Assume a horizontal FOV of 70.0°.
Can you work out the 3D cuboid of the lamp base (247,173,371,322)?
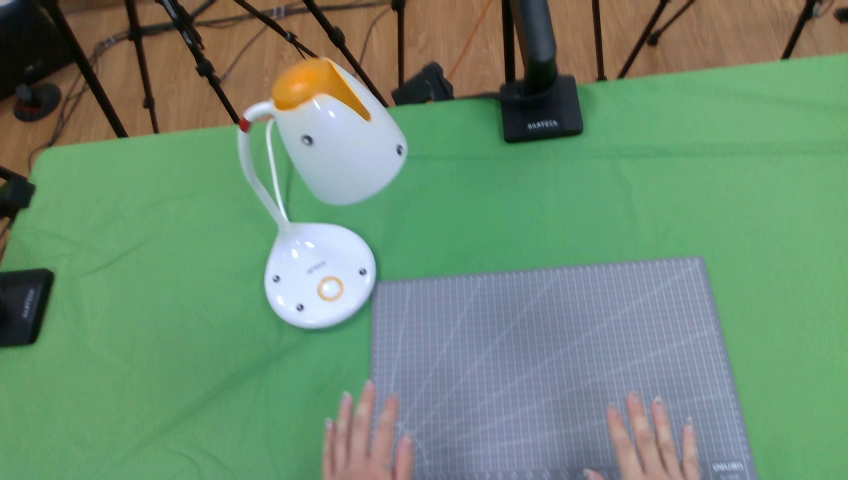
[{"bbox_3d":[-0.173,-0.001,0.799,0.160,0.182,0.177,-41,63,-12],"label":"lamp base"}]

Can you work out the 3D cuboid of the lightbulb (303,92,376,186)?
[{"bbox_3d":[-0.086,-0.099,0.590,0.059,0.109,0.059,-12,49,14],"label":"lightbulb"}]

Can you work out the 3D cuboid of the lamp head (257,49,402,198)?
[{"bbox_3d":[-0.098,-0.118,0.576,0.112,0.124,0.111,-17,49,21],"label":"lamp head"}]
